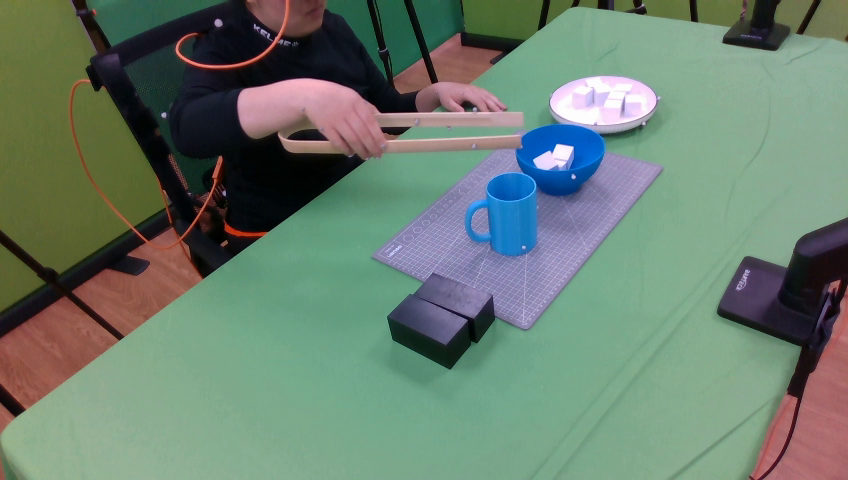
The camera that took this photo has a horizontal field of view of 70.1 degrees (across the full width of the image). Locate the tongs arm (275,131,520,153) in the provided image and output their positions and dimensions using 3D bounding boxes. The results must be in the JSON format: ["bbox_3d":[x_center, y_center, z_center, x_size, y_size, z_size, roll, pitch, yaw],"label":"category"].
[{"bbox_3d":[-0.049,-0.147,0.911,0.386,0.028,0.028,2,56,14],"label":"tongs arm"}]

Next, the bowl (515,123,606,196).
[{"bbox_3d":[0.234,-0.130,1.044,0.151,0.077,0.150,-5,40,5],"label":"bowl"}]

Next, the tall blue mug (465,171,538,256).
[{"bbox_3d":[0.125,-0.033,0.925,0.107,0.108,0.077,-32,46,-25],"label":"tall blue mug"}]

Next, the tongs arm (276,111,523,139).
[{"bbox_3d":[-0.043,-0.173,0.932,0.383,0.027,0.050,3,52,15],"label":"tongs arm"}]

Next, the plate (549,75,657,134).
[{"bbox_3d":[0.357,-0.269,1.220,0.209,0.038,0.208,-5,41,5],"label":"plate"}]
